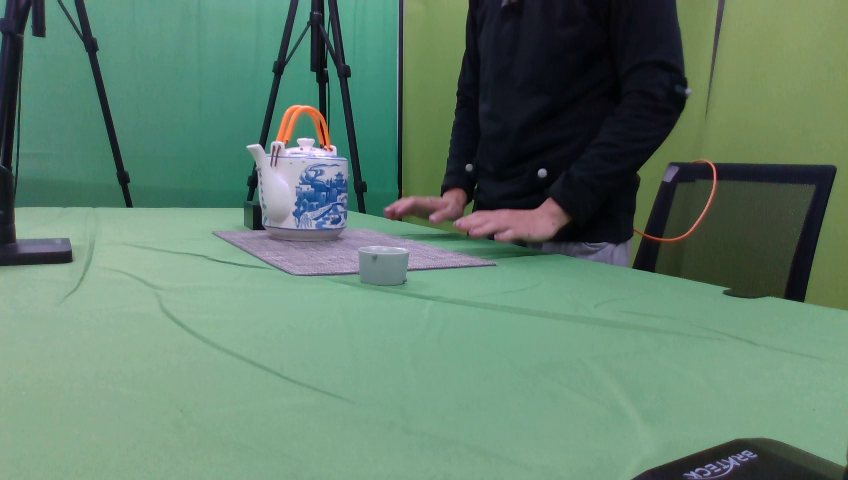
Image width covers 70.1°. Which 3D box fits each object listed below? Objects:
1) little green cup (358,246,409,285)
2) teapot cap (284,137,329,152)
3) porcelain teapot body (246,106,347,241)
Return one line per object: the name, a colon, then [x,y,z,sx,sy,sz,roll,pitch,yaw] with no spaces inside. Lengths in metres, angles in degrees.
little green cup: [-0.048,0.030,0.707,0.061,0.038,0.061,2,8,0]
teapot cap: [-0.205,-0.155,1.041,0.085,0.044,0.085,0,9,0]
porcelain teapot body: [-0.219,-0.113,1.019,0.144,0.225,0.206,6,9,26]
